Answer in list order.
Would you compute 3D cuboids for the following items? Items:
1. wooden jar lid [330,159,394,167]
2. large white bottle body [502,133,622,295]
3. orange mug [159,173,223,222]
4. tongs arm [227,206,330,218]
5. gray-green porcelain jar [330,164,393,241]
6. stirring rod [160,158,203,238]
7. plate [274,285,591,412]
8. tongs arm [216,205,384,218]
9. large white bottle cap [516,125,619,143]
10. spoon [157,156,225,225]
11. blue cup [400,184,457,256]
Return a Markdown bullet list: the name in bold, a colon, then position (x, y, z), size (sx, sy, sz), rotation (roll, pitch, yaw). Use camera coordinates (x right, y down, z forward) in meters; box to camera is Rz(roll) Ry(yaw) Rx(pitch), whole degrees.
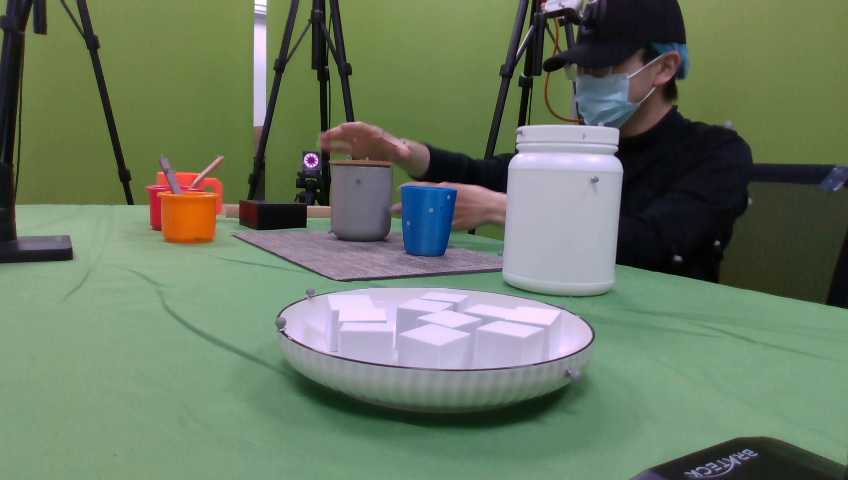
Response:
- **wooden jar lid**: position (-0.106, -0.126, 1.033), size (0.108, 0.020, 0.108), rotation (1, 6, 0)
- **large white bottle body**: position (0.161, -0.037, 0.706), size (0.131, 0.184, 0.130), rotation (2, 7, 0)
- **orange mug**: position (-0.477, -0.089, 1.241), size (0.127, 0.101, 0.083), rotation (-8, 11, -33)
- **tongs arm**: position (-0.251, -0.063, 1.360), size (0.387, 0.026, 0.050), rotation (-2, 2, -31)
- **gray-green porcelain jar**: position (-0.108, -0.065, 1.041), size (0.106, 0.126, 0.106), rotation (3, 8, 0)
- **stirring rod**: position (-0.391, -0.070, 0.972), size (0.014, 0.006, 0.175), rotation (-2, 50, -48)
- **plate**: position (0.005, 0.069, 0.408), size (0.208, 0.039, 0.207), rotation (2, 7, 0)
- **tongs arm**: position (-0.288, -0.067, 1.435), size (0.389, 0.027, 0.028), rotation (0, -2, -17)
- **large white bottle cap**: position (0.164, -0.120, 0.695), size (0.115, 0.018, 0.115), rotation (2, 7, 0)
- **spoon**: position (-0.425, -0.094, 1.117), size (0.041, 0.022, 0.194), rotation (4, 51, 29)
- **blue cup**: position (0.004, -0.030, 0.901), size (0.093, 0.100, 0.092), rotation (4, 8, 0)
